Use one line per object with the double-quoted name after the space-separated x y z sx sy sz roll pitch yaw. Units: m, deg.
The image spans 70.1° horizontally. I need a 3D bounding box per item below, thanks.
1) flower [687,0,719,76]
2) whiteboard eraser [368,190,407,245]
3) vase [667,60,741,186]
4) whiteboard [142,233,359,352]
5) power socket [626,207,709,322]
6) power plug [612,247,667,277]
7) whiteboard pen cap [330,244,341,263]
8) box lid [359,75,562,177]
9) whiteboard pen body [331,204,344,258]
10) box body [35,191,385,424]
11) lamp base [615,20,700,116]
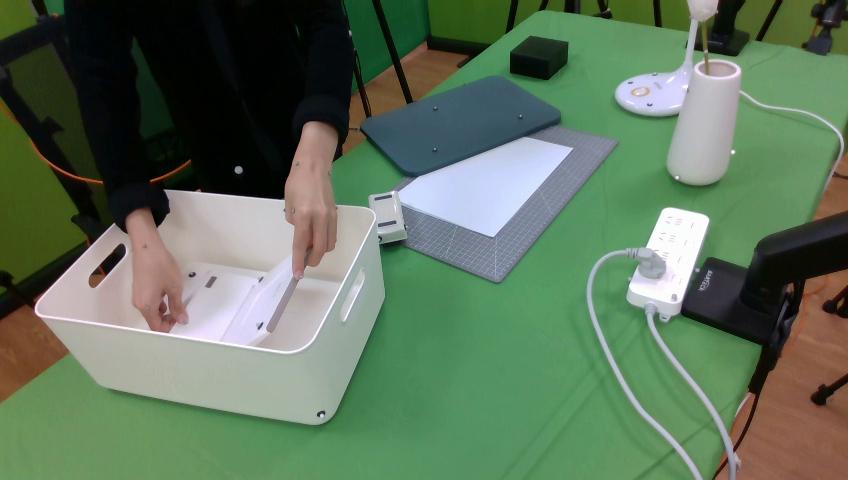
0.436 -0.242 0.934 0.038 0.364 0.043 -24 49 8 "flower"
-0.061 -0.035 1.005 0.056 0.042 0.112 -9 40 -4 "whiteboard eraser"
0.463 -0.189 0.994 0.098 0.201 0.097 -4 40 3 "vase"
-0.246 0.081 0.794 0.305 0.144 0.216 7 46 11 "whiteboard"
0.360 0.026 0.886 0.072 0.033 0.227 17 46 27 "power socket"
0.306 0.031 0.852 0.072 0.053 0.035 21 48 38 "power plug"
-0.142 0.021 0.975 0.018 0.018 0.033 -7 39 0 "whiteboard pen cap"
0.074 -0.249 1.267 0.373 0.015 0.261 -23 42 -18 "box lid"
-0.146 -0.016 1.020 0.017 0.017 0.140 -6 40 1 "whiteboard pen body"
-0.254 0.081 0.807 0.363 0.161 0.253 5 42 14 "box body"
0.484 -0.364 1.211 0.180 0.181 0.159 -15 41 -14 "lamp base"
